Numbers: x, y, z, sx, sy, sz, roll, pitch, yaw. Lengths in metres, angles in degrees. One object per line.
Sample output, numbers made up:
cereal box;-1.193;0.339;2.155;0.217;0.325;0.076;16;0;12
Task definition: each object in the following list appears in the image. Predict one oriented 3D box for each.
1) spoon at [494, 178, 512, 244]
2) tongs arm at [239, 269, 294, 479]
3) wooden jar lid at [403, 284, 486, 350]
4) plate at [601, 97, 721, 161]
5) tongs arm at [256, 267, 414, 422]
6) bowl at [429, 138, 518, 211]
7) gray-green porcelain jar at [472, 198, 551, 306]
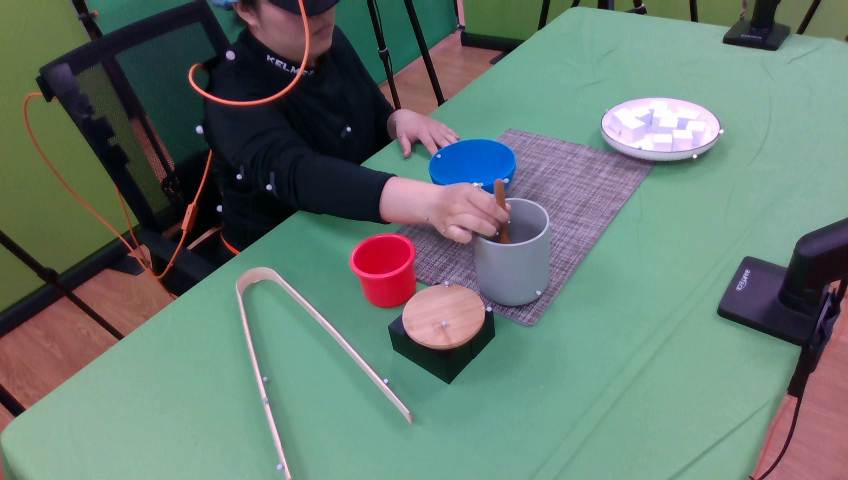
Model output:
spoon;0.108;-0.020;0.824;0.041;0.195;0.021;11;54;20
tongs arm;-0.208;0.163;0.824;0.051;0.026;0.381;-22;40;-15
wooden jar lid;0.027;0.101;0.786;0.108;0.021;0.108;-5;39;5
plate;0.437;-0.202;1.126;0.209;0.038;0.208;-5;39;5
tongs arm;-0.136;0.132;0.853;0.028;0.028;0.384;-34;45;-23
bowl;0.087;-0.104;1.043;0.151;0.077;0.150;-5;40;5
gray-green porcelain jar;0.125;0.021;0.850;0.106;0.127;0.105;-6;40;5
